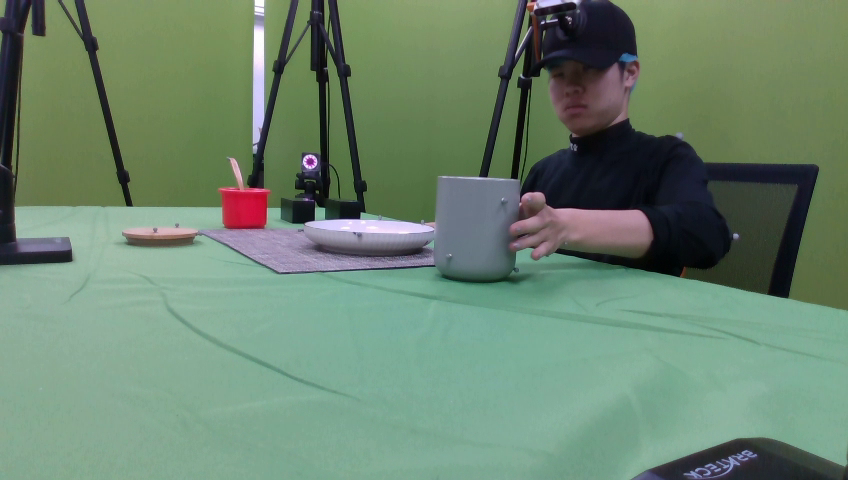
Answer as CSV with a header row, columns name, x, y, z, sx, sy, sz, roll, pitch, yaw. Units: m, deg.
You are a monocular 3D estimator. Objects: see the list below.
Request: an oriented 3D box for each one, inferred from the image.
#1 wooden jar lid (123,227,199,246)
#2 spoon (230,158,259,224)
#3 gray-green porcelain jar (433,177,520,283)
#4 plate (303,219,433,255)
name,x,y,z,sx,sy,sz,roll,pitch,yaw
wooden jar lid,-0.408,-0.006,0.942,0.108,0.020,0.108,3,6,0
spoon,-0.366,-0.101,1.215,0.042,0.021,0.193,-1,52,-30
gray-green porcelain jar,0.064,-0.014,0.759,0.106,0.126,0.106,2,7,0
plate,-0.085,-0.005,0.952,0.208,0.039,0.207,3,7,0
